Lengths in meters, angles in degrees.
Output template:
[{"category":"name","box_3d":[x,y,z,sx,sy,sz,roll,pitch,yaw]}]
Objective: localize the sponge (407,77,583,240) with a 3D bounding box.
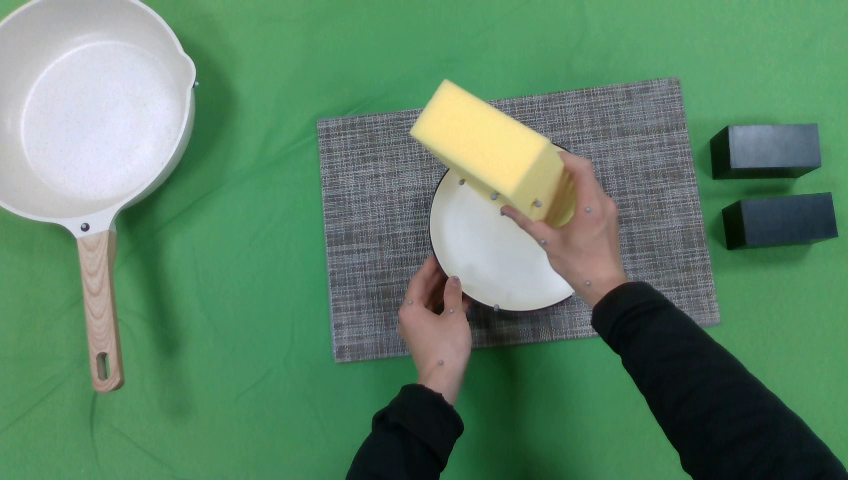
[{"category":"sponge","box_3d":[0.083,-0.073,0.616,0.117,0.208,0.061,36,94,25]}]

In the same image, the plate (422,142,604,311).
[{"category":"plate","box_3d":[0.102,-0.020,0.710,0.207,0.039,0.207,0,82,3]}]

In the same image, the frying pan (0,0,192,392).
[{"category":"frying pan","box_3d":[-0.397,-0.063,0.715,0.307,0.103,0.484,-14,73,2]}]
